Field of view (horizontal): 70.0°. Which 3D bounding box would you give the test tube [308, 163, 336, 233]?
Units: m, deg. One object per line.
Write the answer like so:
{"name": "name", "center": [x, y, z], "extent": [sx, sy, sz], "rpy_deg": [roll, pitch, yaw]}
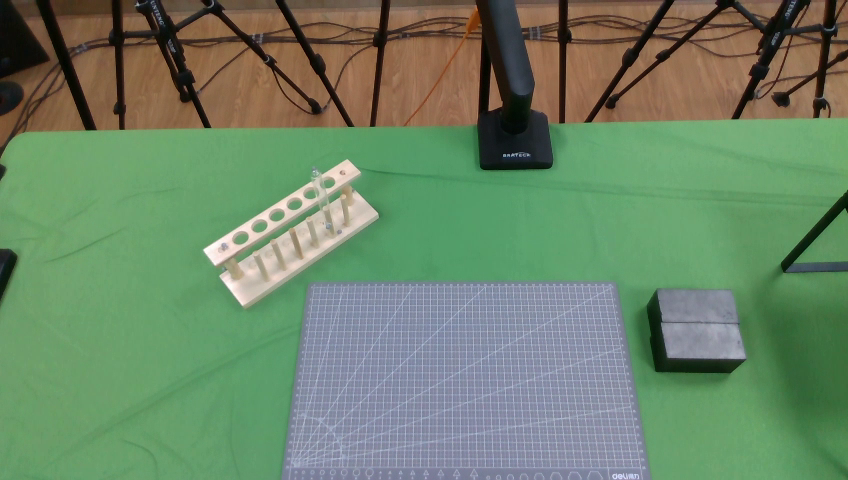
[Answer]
{"name": "test tube", "center": [-0.142, -0.056, 0.853], "extent": [0.017, 0.151, 0.017], "rpy_deg": [-1, 57, 2]}

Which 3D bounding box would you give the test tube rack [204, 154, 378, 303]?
{"name": "test tube rack", "center": [-0.186, -0.019, 0.884], "extent": [0.242, 0.086, 0.066], "rpy_deg": [-36, 64, -19]}
